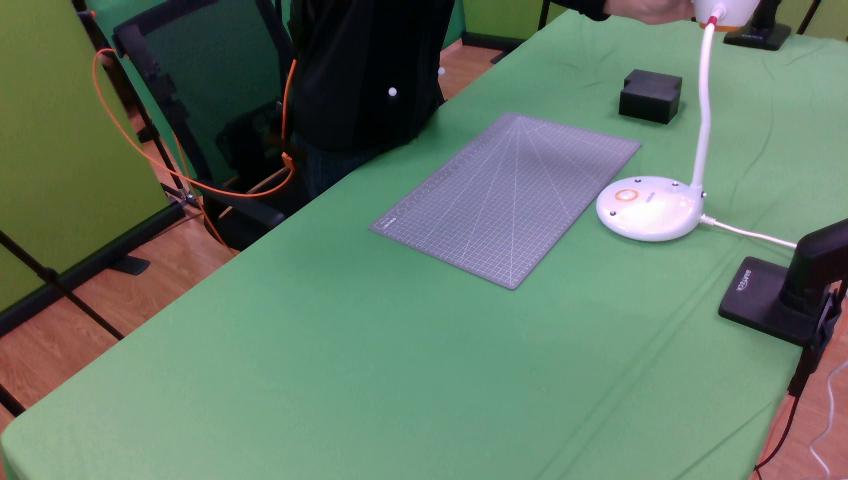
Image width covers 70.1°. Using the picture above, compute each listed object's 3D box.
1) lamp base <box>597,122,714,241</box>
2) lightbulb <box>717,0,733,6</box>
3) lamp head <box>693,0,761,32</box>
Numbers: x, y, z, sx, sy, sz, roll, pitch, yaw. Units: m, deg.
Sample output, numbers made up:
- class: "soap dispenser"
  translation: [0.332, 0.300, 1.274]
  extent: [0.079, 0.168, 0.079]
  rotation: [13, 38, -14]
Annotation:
- class: "lamp base"
  translation: [0.364, -0.109, 0.921]
  extent: [0.178, 0.181, 0.160]
  rotation: [13, 45, 21]
- class: "lightbulb"
  translation: [0.438, -0.391, 0.861]
  extent: [0.059, 0.108, 0.059]
  rotation: [-2, 32, 2]
- class: "lamp head"
  translation: [0.438, -0.362, 0.869]
  extent: [0.112, 0.123, 0.112]
  rotation: [2, 28, 0]
